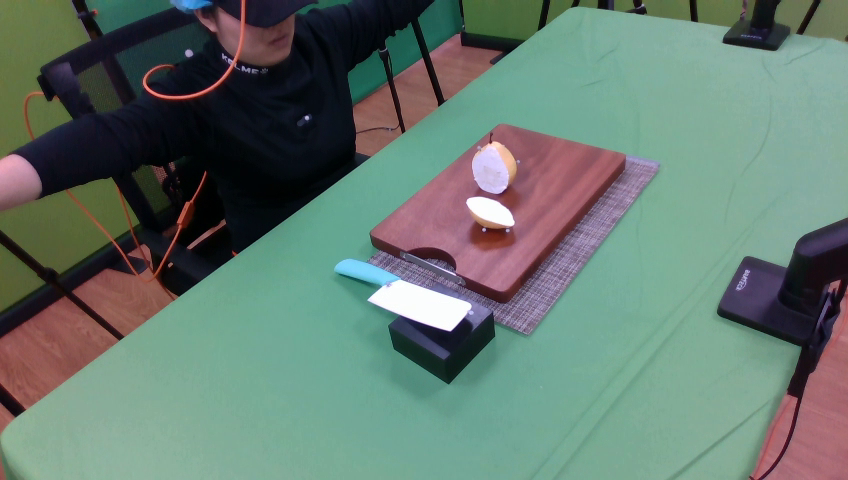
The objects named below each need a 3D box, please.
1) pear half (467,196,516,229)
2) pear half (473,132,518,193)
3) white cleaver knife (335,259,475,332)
[{"bbox_3d":[0.106,-0.037,0.956,0.071,0.031,0.087,-23,53,-37],"label":"pear half"},{"bbox_3d":[0.123,-0.139,1.015,0.076,0.110,0.056,17,47,23],"label":"pear half"},{"bbox_3d":[-0.045,0.072,0.859,0.066,0.021,0.284,-36,33,-31],"label":"white cleaver knife"}]
